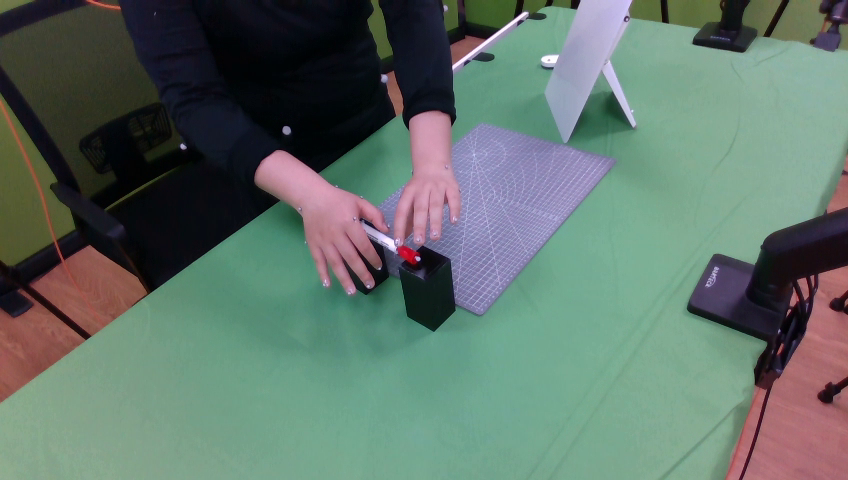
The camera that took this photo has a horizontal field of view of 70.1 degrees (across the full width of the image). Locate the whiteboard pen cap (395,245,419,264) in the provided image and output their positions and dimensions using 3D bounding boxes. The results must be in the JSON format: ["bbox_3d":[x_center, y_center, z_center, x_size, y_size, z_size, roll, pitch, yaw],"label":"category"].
[{"bbox_3d":[-0.023,0.018,0.800,0.032,0.017,0.017,27,51,36],"label":"whiteboard pen cap"}]

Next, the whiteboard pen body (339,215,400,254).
[{"bbox_3d":[-0.067,-0.004,0.836,0.139,0.017,0.017,27,51,33],"label":"whiteboard pen body"}]

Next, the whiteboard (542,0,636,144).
[{"bbox_3d":[0.366,-0.351,1.160,0.144,0.305,0.216,10,39,-10],"label":"whiteboard"}]

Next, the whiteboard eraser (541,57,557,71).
[{"bbox_3d":[0.323,-0.412,1.407,0.101,0.019,0.041,1,41,11],"label":"whiteboard eraser"}]
